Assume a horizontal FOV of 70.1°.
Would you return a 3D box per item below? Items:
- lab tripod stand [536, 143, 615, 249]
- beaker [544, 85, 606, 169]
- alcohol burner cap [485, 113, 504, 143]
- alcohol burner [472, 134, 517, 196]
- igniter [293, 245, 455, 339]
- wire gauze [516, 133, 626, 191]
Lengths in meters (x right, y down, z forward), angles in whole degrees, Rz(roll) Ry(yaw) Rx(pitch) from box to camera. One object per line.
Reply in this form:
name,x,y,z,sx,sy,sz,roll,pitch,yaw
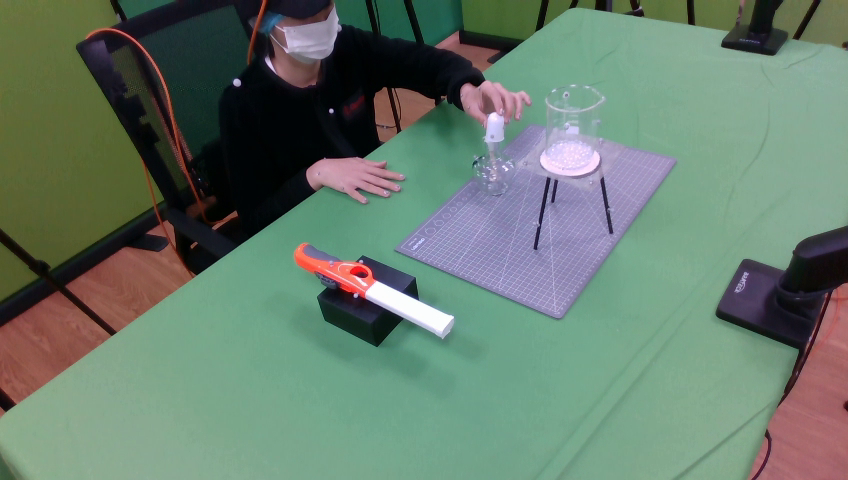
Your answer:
lab tripod stand,0.224,-0.069,0.931,0.148,0.132,0.147,-4,42,4
beaker,0.212,-0.158,0.861,0.084,0.101,0.073,-3,41,6
alcohol burner cap,0.118,-0.186,0.999,0.034,0.048,0.033,0,36,0
alcohol burner,0.120,-0.136,1.044,0.078,0.119,0.077,-6,39,6
igniter,-0.079,0.066,0.834,0.274,0.025,0.057,23,48,27
wire gauze,0.217,-0.122,0.893,0.124,0.011,0.122,20,47,32
